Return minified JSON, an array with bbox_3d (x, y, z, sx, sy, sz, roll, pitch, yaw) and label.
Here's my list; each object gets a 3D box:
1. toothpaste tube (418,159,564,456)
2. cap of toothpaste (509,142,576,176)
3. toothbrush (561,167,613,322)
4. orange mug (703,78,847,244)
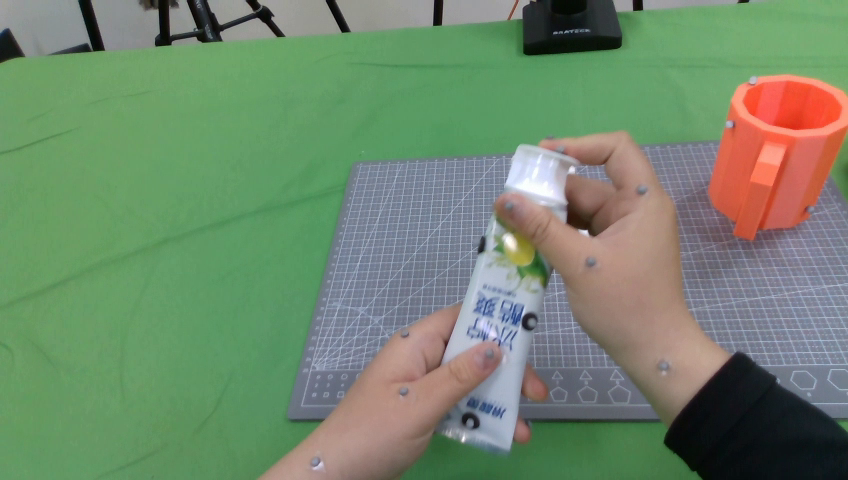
[{"bbox_3d":[0.041,0.031,0.331,0.055,0.035,0.165,16,93,23],"label":"toothpaste tube"},{"bbox_3d":[0.063,-0.043,0.326,0.037,0.037,0.011,21,96,28],"label":"cap of toothpaste"},{"bbox_3d":[0.136,-0.005,0.520,0.014,0.017,0.180,2,46,-5],"label":"toothbrush"},{"bbox_3d":[0.278,-0.059,0.491,0.083,0.102,0.126,20,47,27],"label":"orange mug"}]
